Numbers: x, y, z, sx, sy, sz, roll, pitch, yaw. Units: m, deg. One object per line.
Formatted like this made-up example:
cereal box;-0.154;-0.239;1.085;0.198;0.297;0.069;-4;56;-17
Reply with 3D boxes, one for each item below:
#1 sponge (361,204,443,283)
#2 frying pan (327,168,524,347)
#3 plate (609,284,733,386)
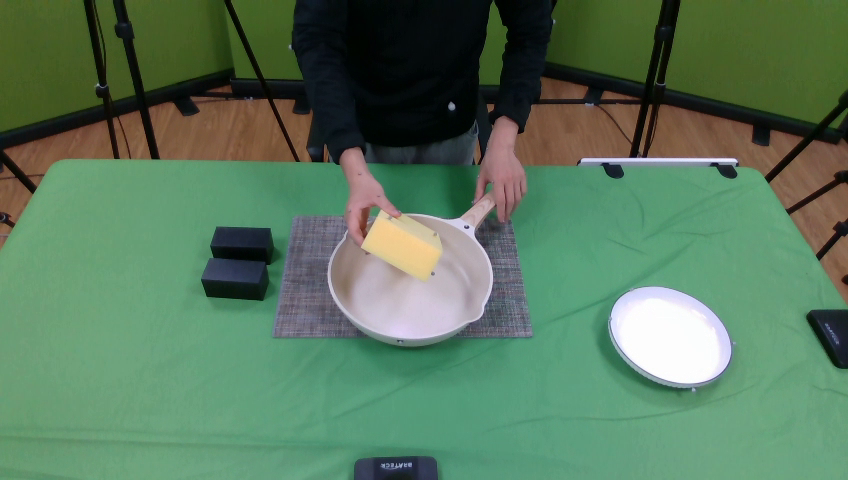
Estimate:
sponge;-0.036;0.000;1.046;0.118;0.061;0.206;29;7;-5
frying pan;0.042;0.009;1.132;0.305;0.103;0.487;34;61;24
plate;0.425;0.167;1.059;0.208;0.039;0.206;2;46;-2
